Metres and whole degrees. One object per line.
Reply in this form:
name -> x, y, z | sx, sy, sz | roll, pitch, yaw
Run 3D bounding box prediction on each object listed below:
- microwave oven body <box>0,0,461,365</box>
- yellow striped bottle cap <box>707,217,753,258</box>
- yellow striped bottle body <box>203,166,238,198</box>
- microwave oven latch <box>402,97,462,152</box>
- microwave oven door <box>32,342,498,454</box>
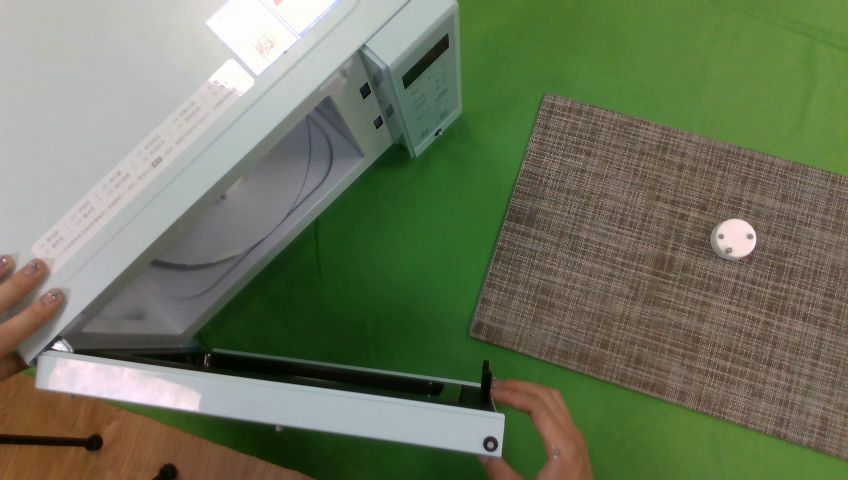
microwave oven body -> -0.229, -0.133, 0.608 | 0.441, 0.261, 0.325 | -45, 82, -3
yellow striped bottle cap -> 0.340, -0.003, 0.674 | 0.044, 0.019, 0.044 | -1, 81, 5
yellow striped bottle body -> -0.235, -0.084, 0.608 | 0.063, 0.120, 0.062 | 0, 83, 0
microwave oven latch -> 0.009, -0.138, 0.691 | 0.079, 0.029, 0.030 | -43, 81, -2
microwave oven door -> -0.111, 0.135, 0.555 | 0.355, 0.244, 0.039 | 6, 81, 5
